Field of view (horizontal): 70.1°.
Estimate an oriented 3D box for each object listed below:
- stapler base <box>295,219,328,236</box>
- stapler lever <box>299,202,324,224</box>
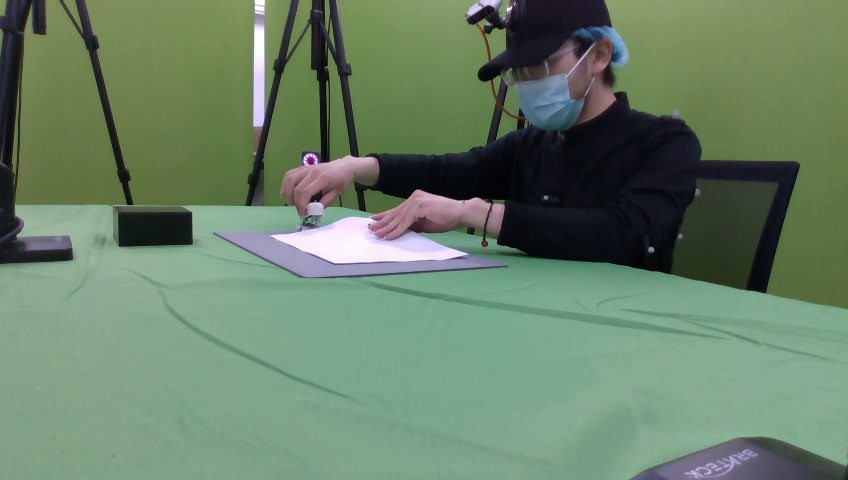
[{"bbox_3d":[-0.209,-0.026,1.119,0.041,0.024,0.130,2,5,-21],"label":"stapler base"},{"bbox_3d":[-0.208,-0.052,1.118,0.027,0.040,0.117,2,5,-21],"label":"stapler lever"}]
